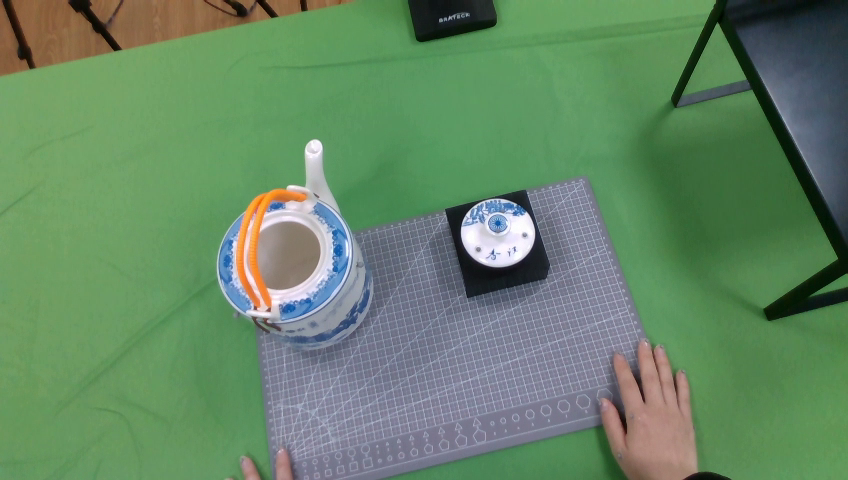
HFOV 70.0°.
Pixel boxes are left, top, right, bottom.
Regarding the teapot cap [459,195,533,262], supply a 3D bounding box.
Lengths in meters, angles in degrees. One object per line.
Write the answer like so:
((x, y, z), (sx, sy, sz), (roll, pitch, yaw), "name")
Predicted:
((0.081, -0.015, 0.686), (0.085, 0.044, 0.084), (-2, 66, 5), "teapot cap")

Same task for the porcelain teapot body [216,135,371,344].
((-0.138, -0.005, 0.658), (0.145, 0.227, 0.204), (7, 69, 8), "porcelain teapot body")
